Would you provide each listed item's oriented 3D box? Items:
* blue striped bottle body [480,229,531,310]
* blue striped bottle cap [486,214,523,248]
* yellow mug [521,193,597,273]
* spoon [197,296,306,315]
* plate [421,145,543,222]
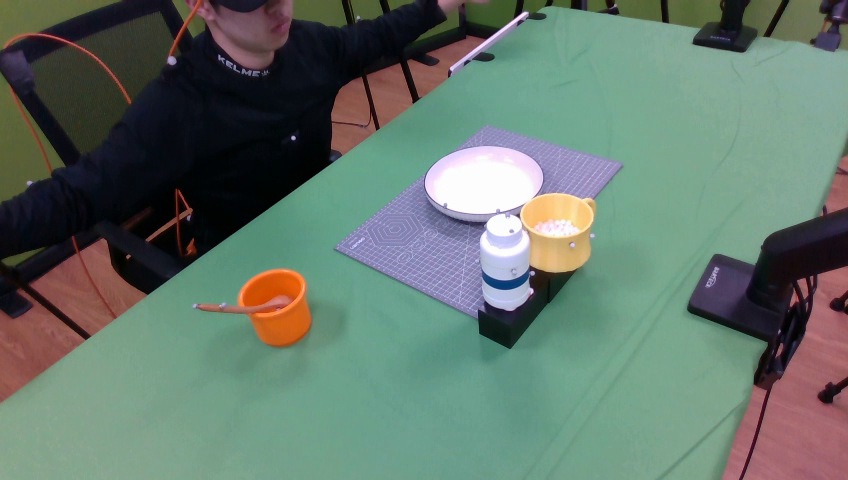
[{"bbox_3d":[0.104,0.027,0.769,0.063,0.121,0.063,-4,40,4],"label":"blue striped bottle body"},{"bbox_3d":[0.098,-0.011,0.735,0.044,0.021,0.044,-3,38,3],"label":"blue striped bottle cap"},{"bbox_3d":[0.197,-0.019,0.852,0.131,0.064,0.099,-30,46,-25],"label":"yellow mug"},{"bbox_3d":[-0.220,0.088,0.793,0.041,0.021,0.195,20,7,25],"label":"spoon"},{"bbox_3d":[0.101,-0.094,1.048,0.207,0.039,0.206,-4,41,4],"label":"plate"}]
